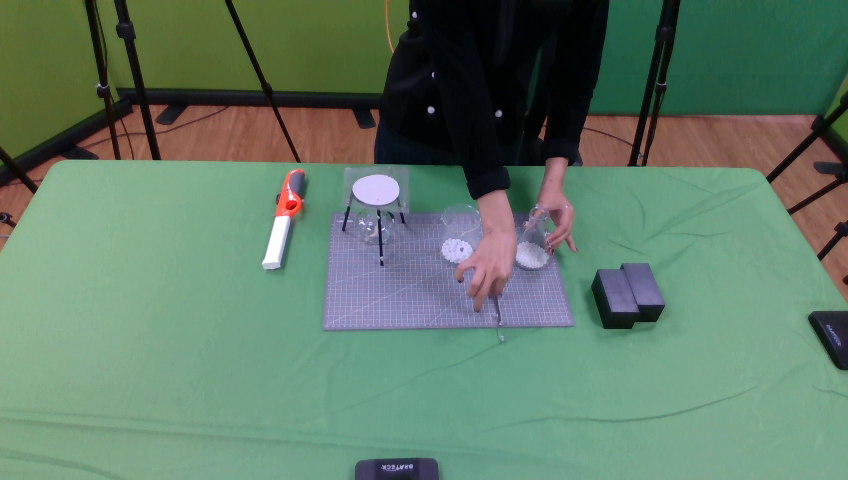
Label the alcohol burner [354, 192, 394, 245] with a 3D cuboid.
[{"bbox_3d":[-0.096,-0.048,1.171,0.078,0.119,0.077,4,45,-4],"label":"alcohol burner"}]

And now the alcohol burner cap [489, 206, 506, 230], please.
[{"bbox_3d":[0.152,-0.047,1.241,0.034,0.048,0.033,3,44,-2],"label":"alcohol burner cap"}]

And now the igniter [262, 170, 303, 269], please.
[{"bbox_3d":[-0.283,-0.050,1.222,0.057,0.025,0.275,-5,45,6],"label":"igniter"}]

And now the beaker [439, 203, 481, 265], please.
[{"bbox_3d":[0.066,-0.006,1.154,0.074,0.101,0.083,7,47,4],"label":"beaker"}]

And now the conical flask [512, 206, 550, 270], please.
[{"bbox_3d":[0.210,-0.007,1.149,0.075,0.122,0.075,1,46,-1],"label":"conical flask"}]

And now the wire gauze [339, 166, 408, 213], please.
[{"bbox_3d":[-0.091,-0.096,1.110,0.125,0.011,0.120,2,45,-3],"label":"wire gauze"}]

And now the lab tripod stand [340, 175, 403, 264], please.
[{"bbox_3d":[-0.093,-0.050,1.160,0.148,0.132,0.147,2,44,-2],"label":"lab tripod stand"}]

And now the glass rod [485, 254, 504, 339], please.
[{"bbox_3d":[0.129,0.100,1.119,0.008,0.008,0.198,-1,46,-5],"label":"glass rod"}]
